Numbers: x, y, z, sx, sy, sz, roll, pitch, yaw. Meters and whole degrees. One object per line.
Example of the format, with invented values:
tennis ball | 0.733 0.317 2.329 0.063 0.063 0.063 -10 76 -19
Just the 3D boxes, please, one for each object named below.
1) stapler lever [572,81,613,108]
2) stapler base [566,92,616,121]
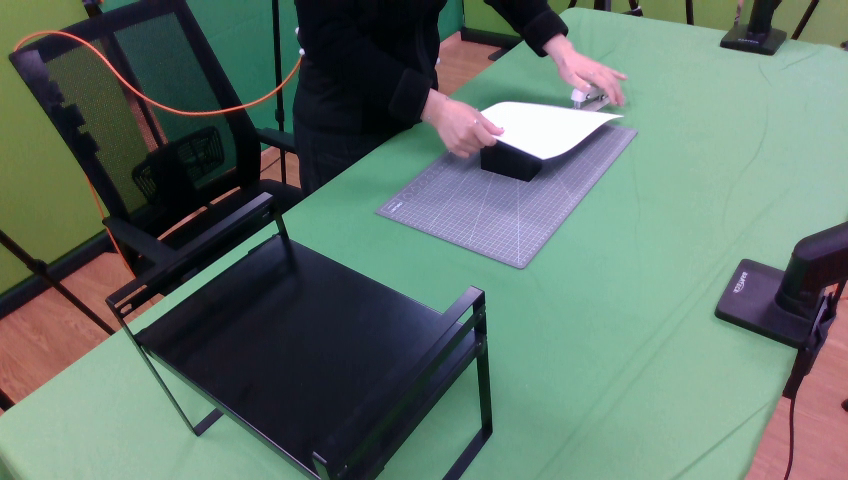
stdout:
stapler lever | 0.346 -0.306 1.240 0.118 0.040 0.026 -33 48 -31
stapler base | 0.347 -0.285 1.255 0.131 0.024 0.041 -33 49 -30
